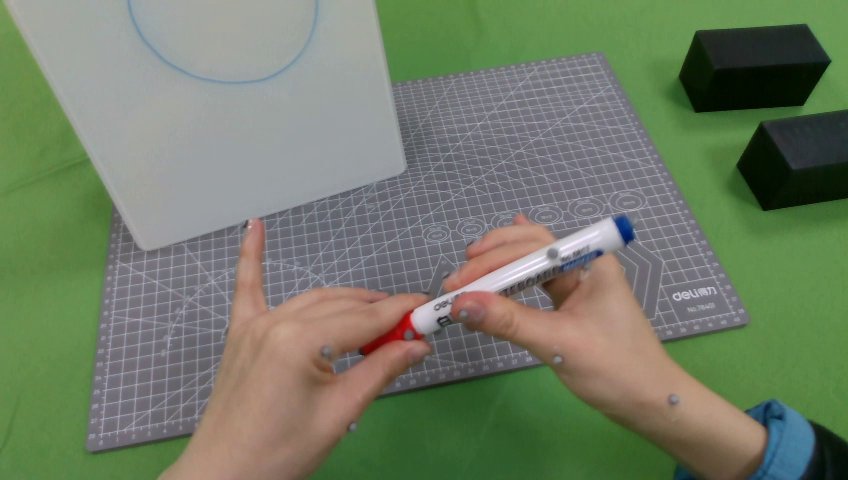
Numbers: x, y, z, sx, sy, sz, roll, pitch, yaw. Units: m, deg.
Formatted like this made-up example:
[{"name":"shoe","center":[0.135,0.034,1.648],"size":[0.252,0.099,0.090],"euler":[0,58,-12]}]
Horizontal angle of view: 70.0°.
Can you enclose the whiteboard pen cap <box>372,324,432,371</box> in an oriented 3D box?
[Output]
[{"name":"whiteboard pen cap","center":[-0.011,0.054,0.316],"size":[0.032,0.017,0.017],"euler":[-36,50,31]}]

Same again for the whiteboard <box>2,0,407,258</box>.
[{"name":"whiteboard","center":[-0.157,-0.177,0.440],"size":[0.217,0.308,0.142],"euler":[-18,38,-10]}]

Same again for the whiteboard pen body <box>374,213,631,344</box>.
[{"name":"whiteboard pen body","center":[0.034,0.023,0.298],"size":[0.140,0.017,0.016],"euler":[-27,55,17]}]
